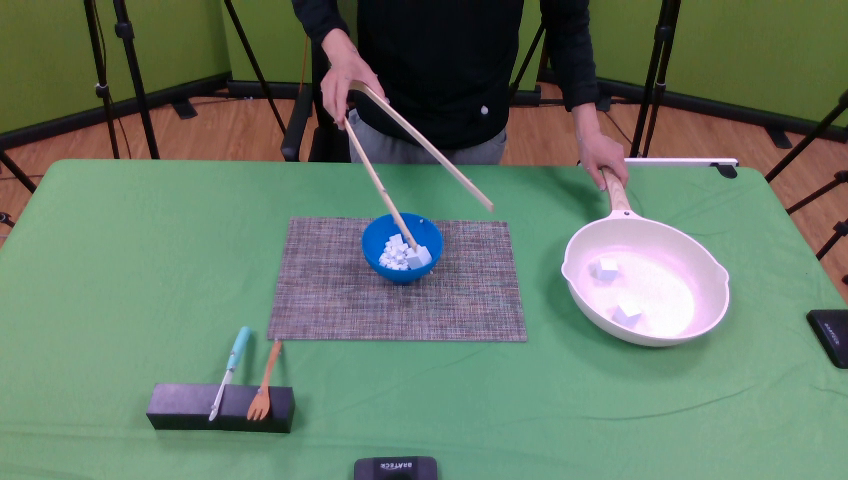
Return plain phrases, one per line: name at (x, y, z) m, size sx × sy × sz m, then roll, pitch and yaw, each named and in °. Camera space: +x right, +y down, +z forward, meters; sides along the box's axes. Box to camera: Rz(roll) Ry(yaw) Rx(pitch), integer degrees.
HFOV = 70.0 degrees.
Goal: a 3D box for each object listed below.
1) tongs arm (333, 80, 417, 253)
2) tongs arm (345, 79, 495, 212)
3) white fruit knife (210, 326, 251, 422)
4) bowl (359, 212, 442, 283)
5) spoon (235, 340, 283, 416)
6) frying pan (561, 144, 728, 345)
tongs arm at (-0.080, -0.137, 1.031) m, size 0.051 × 0.026 × 0.382 m, roll -26°, pitch 61°, yaw -11°
tongs arm at (-0.013, -0.173, 1.051) m, size 0.028 × 0.028 × 0.385 m, roll -38°, pitch 64°, yaw -13°
white fruit knife at (-0.300, 0.201, 0.941) m, size 0.016 × 0.027 × 0.206 m, roll -2°, pitch 32°, yaw 1°
bowl at (-0.044, 0.026, 1.125) m, size 0.151 × 0.077 × 0.150 m, roll 2°, pitch 46°, yaw -2°
spoon at (-0.244, 0.207, 0.932) m, size 0.042 × 0.022 × 0.193 m, roll 27°, pitch 25°, yaw -8°
frying pan at (0.397, -0.008, 1.179) m, size 0.307 × 0.103 × 0.485 m, roll 2°, pitch 55°, yaw -4°
